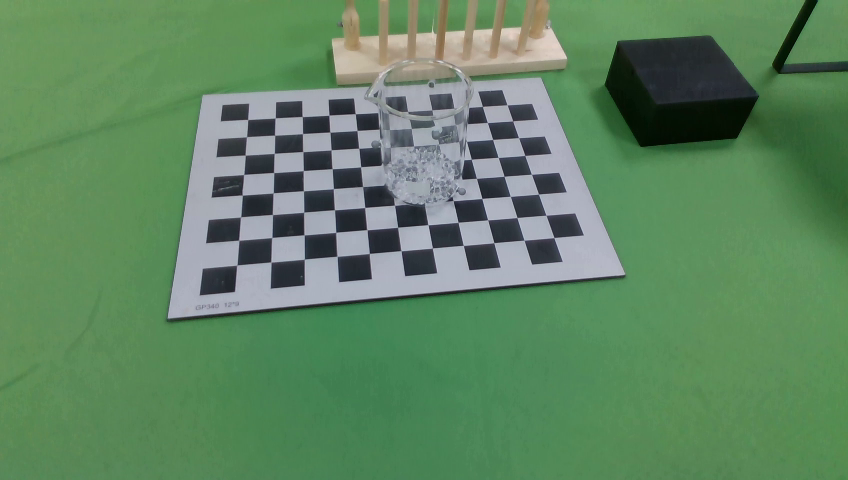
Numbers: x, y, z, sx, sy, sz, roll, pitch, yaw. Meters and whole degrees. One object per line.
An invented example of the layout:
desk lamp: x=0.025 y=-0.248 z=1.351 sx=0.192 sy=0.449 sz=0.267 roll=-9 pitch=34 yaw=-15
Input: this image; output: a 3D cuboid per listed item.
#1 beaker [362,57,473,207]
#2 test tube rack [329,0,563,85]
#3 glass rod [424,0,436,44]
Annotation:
beaker: x=-0.005 y=-0.083 z=0.488 sx=0.084 sy=0.101 sz=0.073 roll=-5 pitch=50 yaw=-6
test tube rack: x=0.024 y=-0.222 z=0.620 sx=0.243 sy=0.086 sz=0.066 roll=-6 pitch=50 yaw=-8
glass rod: x=0.016 y=-0.283 z=0.584 sx=0.008 sy=0.201 sz=0.008 roll=5 pitch=45 yaw=-5
